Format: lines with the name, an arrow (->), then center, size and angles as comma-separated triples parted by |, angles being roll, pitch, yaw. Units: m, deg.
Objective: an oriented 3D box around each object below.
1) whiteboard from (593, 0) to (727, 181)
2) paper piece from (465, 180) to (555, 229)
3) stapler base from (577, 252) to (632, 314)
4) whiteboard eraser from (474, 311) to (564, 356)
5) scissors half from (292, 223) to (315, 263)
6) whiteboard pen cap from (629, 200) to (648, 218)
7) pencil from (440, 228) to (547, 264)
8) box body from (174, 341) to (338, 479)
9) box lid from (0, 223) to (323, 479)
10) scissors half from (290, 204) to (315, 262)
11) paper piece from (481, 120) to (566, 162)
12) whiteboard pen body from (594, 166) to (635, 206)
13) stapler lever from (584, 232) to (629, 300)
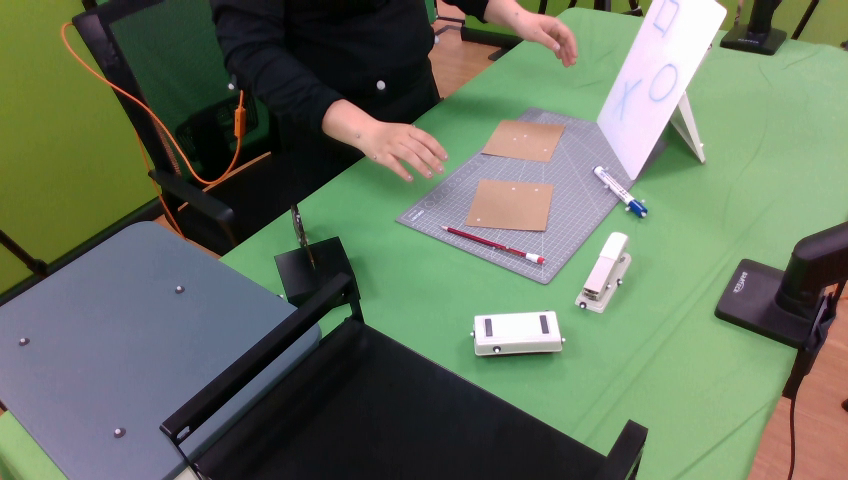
whiteboard -> 0.452, -0.272, 1.056 | 0.144, 0.305, 0.216 | 9, 38, -12
paper piece -> 0.149, -0.062, 1.035 | 0.137, 0.009, 0.136 | 5, 38, 16
stapler base -> 0.264, 0.051, 0.875 | 0.041, 0.024, 0.131 | 16, 47, 30
whiteboard eraser -> 0.123, 0.125, 0.793 | 0.113, 0.042, 0.055 | -5, 38, 3
scissors half -> -0.187, 0.007, 0.954 | 0.013, 0.040, 0.174 | -18, 20, -14
whiteboard pen cap -> 0.348, -0.052, 0.983 | 0.018, 0.018, 0.033 | -18, 41, -12
pencil -> 0.105, 0.006, 0.958 | 0.192, 0.012, 0.012 | 18, 46, 30
box body -> -0.311, 0.165, 0.720 | 0.361, 0.161, 0.255 | 23, 49, 32
box lid -> -0.318, 0.109, 0.671 | 0.368, 0.015, 0.264 | 24, 49, 31
scissors half -> -0.189, -0.011, 0.945 | 0.013, 0.040, 0.173 | -13, 36, -17
paper piece -> 0.197, -0.199, 1.188 | 0.135, 0.004, 0.135 | 11, 44, 21
whiteboard pen body -> 0.330, -0.085, 1.027 | 0.017, 0.017, 0.139 | -17, 41, -10
stapler lever -> 0.260, 0.034, 0.858 | 0.026, 0.040, 0.118 | 16, 46, 30
